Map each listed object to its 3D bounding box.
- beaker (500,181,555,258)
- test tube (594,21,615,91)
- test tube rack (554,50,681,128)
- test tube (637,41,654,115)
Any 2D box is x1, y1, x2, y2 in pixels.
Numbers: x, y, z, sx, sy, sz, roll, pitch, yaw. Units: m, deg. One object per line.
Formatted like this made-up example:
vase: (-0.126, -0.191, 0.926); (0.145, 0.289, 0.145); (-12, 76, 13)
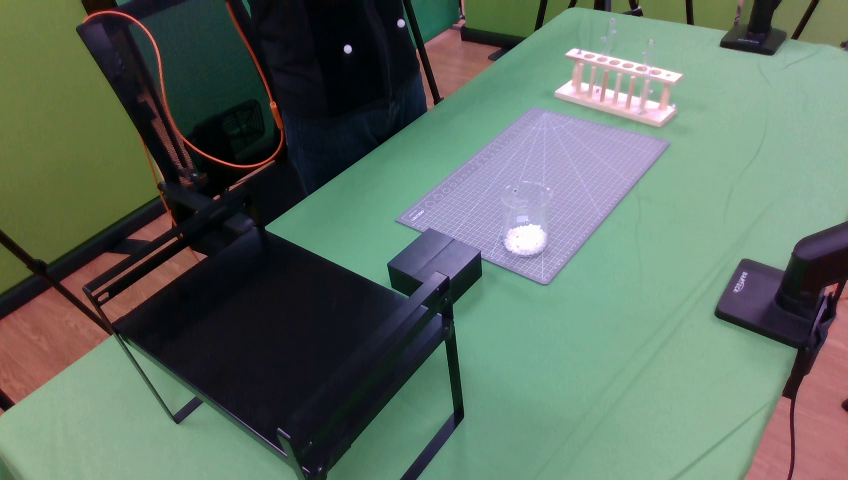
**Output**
beaker: (0.158, -0.030, 0.922); (0.084, 0.100, 0.073); (-13, 41, -8)
test tube: (0.366, -0.372, 1.233); (0.017, 0.151, 0.017); (0, 43, 0)
test tube rack: (0.387, -0.311, 1.234); (0.240, 0.085, 0.067); (28, 52, 34)
test tube: (0.423, -0.307, 1.154); (0.017, 0.151, 0.017); (-5, 41, 5)
